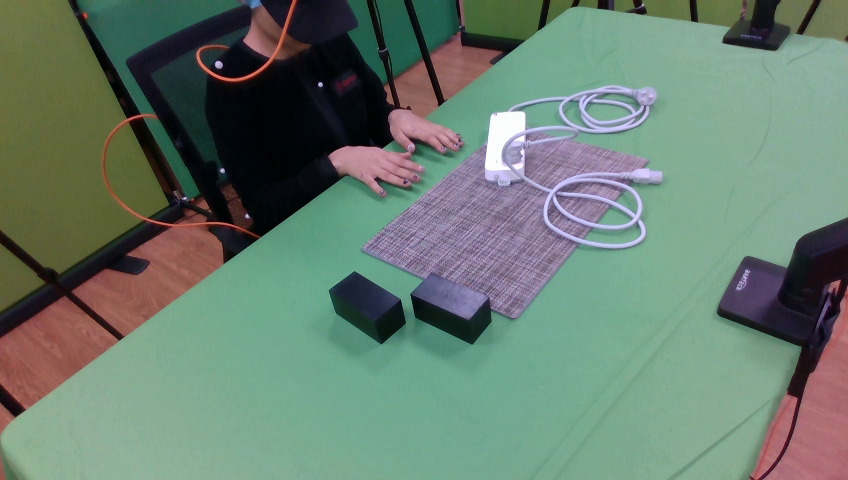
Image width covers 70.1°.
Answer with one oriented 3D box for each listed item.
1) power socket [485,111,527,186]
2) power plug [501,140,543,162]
[{"bbox_3d":[0.159,-0.181,1.153,0.072,0.033,0.226,0,41,11],"label":"power socket"},{"bbox_3d":[0.174,-0.150,1.078,0.072,0.053,0.035,6,42,19],"label":"power plug"}]
